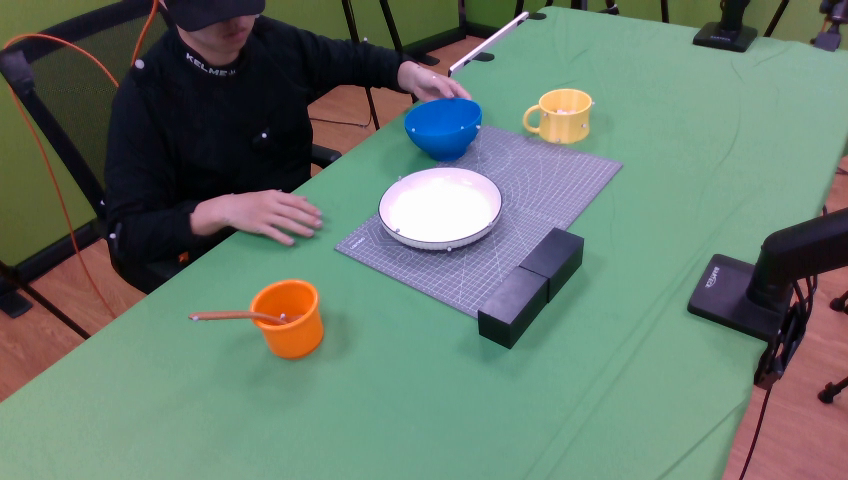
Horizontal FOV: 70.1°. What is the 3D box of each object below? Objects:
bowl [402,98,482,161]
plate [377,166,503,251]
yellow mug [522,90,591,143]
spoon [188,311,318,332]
[{"bbox_3d":[0.040,-0.202,1.155,0.151,0.077,0.150,-7,37,6],"label":"bowl"},{"bbox_3d":[0.027,-0.050,1.007,0.209,0.038,0.208,-4,41,4],"label":"plate"},{"bbox_3d":[0.257,-0.239,1.177,0.131,0.064,0.099,-6,41,3],"label":"yellow mug"},{"bbox_3d":[-0.216,0.102,0.783,0.041,0.195,0.021,27,96,39],"label":"spoon"}]
